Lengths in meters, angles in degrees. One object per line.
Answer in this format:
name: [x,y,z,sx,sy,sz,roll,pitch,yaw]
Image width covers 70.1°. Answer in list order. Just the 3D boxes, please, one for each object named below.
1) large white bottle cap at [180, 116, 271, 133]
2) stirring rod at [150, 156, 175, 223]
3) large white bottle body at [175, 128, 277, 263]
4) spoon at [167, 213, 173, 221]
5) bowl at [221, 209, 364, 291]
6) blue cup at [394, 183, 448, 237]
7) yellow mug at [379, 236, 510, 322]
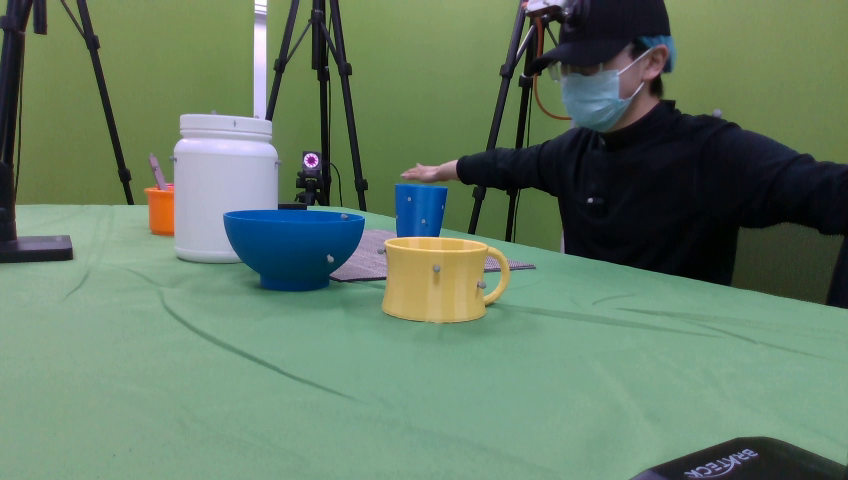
large white bottle cap: [-0.262,-0.152,0.803,0.115,0.018,0.115,2,7,0]
stirring rod: [-0.446,-0.083,1.049,0.014,0.006,0.175,0,49,-47]
large white bottle body: [-0.265,-0.068,0.814,0.131,0.184,0.130,2,7,0]
spoon: [-0.447,-0.104,1.192,0.041,0.022,0.193,7,52,14]
bowl: [-0.142,0.011,0.660,0.151,0.077,0.151,2,7,0]
blue cup: [-0.009,-0.037,0.954,0.093,0.100,0.092,4,7,0]
yellow mug: [0.024,0.034,0.575,0.131,0.064,0.099,1,7,-22]
